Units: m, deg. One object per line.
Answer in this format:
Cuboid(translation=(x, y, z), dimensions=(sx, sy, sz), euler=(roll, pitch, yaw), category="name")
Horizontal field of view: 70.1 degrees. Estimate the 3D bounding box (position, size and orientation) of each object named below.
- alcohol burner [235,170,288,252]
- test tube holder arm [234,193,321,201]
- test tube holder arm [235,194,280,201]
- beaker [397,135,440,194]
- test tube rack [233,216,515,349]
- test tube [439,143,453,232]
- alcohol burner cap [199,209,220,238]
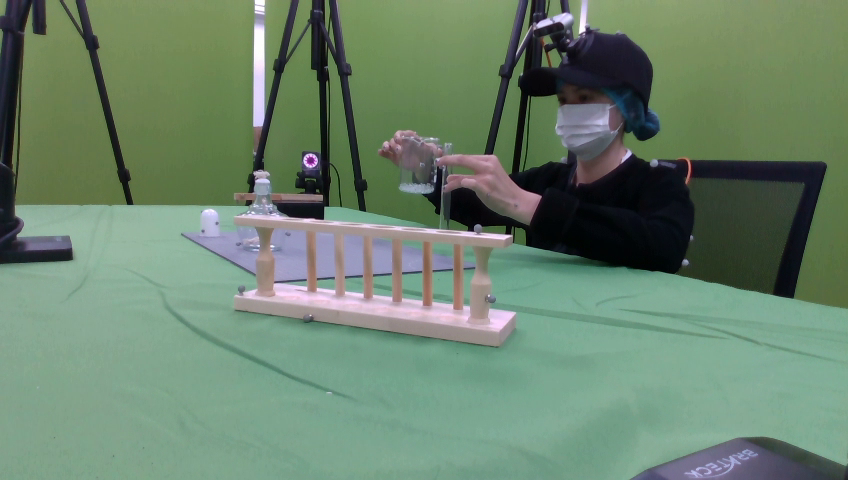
Cuboid(translation=(-0.236, -0.042, 0.882), dimensions=(0.078, 0.119, 0.078), euler=(2, 9, 0), category="alcohol burner")
Cuboid(translation=(-0.299, -0.088, 1.248), dimensions=(0.179, 0.015, 0.013), euler=(-1, 16, -30), category="test tube holder arm")
Cuboid(translation=(-0.336, -0.086, 1.221), dimensions=(0.088, 0.015, 0.010), euler=(-1, 16, -29), category="test tube holder arm")
Cuboid(translation=(-0.011, -0.136, 1.099), dimensions=(0.074, 0.100, 0.084), euler=(5, 12, -1), category="beaker")
Cuboid(translation=(-0.045, 0.029, 0.526), dimensions=(0.241, 0.085, 0.067), euler=(5, 8, 19), category="test tube rack")
Cuboid(translation=(0.034, -0.076, 0.946), dimensions=(0.017, 0.150, 0.017), euler=(3, 6, 0), category="test tube")
Cuboid(translation=(-0.356, -0.027, 1.002), dimensions=(0.034, 0.048, 0.034), euler=(2, 7, 0), category="alcohol burner cap")
